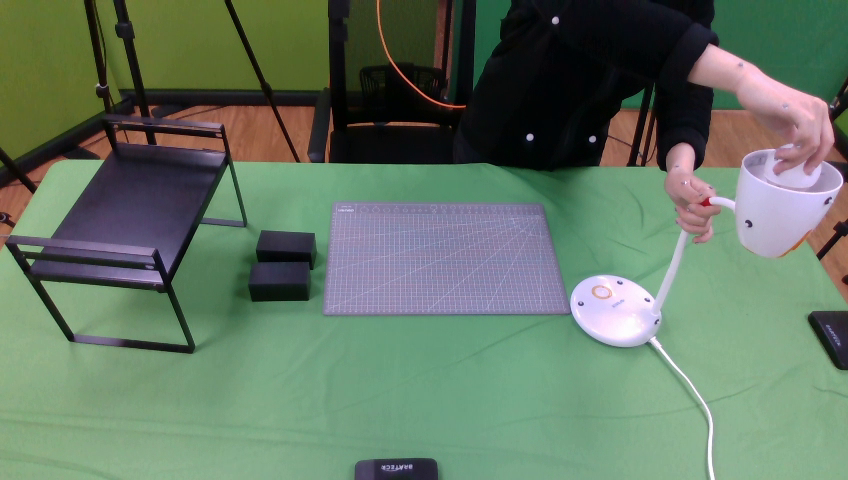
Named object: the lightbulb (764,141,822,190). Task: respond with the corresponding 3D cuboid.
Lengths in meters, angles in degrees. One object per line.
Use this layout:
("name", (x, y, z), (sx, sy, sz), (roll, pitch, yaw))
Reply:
("lightbulb", (0.442, -0.068, 0.738), (0.059, 0.108, 0.059), (0, 30, 0))

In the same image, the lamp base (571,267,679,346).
("lamp base", (0.360, 0.078, 1.037), (0.160, 0.181, 0.178), (-34, 59, -31))

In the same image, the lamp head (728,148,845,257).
("lamp head", (0.438, -0.042, 0.758), (0.112, 0.123, 0.111), (1, 40, -1))
